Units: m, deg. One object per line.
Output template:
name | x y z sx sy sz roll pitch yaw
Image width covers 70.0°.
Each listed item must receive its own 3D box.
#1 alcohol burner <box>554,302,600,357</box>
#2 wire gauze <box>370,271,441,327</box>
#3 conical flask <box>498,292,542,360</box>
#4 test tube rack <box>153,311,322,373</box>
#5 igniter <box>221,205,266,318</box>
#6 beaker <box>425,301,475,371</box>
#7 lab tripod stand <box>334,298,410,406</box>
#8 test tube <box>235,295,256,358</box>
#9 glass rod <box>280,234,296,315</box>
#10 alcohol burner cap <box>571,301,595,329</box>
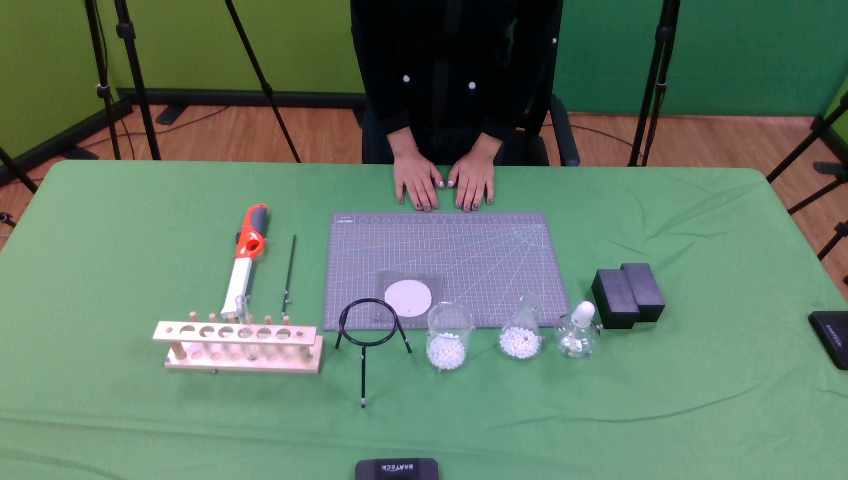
alcohol burner | 0.260 0.143 1.018 0.078 0.119 0.077 3 45 -3
wire gauze | -0.032 0.103 1.105 0.125 0.011 0.121 4 46 3
conical flask | 0.167 0.139 1.010 0.075 0.122 0.075 2 46 -2
test tube rack | -0.293 0.160 0.978 0.242 0.085 0.066 3 46 -2
igniter | -0.338 0.031 1.140 0.057 0.025 0.274 -5 46 3
beaker | 0.038 0.160 0.996 0.074 0.101 0.083 -13 48 -17
lab tripod stand | -0.086 0.164 0.958 0.148 0.132 0.147 3 44 -2
test tube | -0.274 0.136 0.933 0.017 0.151 0.017 4 46 -4
glass rod | -0.253 0.060 1.132 0.008 0.008 0.198 0 46 -3
alcohol burner cap | 0.262 0.120 0.991 0.034 0.048 0.033 2 52 -2
